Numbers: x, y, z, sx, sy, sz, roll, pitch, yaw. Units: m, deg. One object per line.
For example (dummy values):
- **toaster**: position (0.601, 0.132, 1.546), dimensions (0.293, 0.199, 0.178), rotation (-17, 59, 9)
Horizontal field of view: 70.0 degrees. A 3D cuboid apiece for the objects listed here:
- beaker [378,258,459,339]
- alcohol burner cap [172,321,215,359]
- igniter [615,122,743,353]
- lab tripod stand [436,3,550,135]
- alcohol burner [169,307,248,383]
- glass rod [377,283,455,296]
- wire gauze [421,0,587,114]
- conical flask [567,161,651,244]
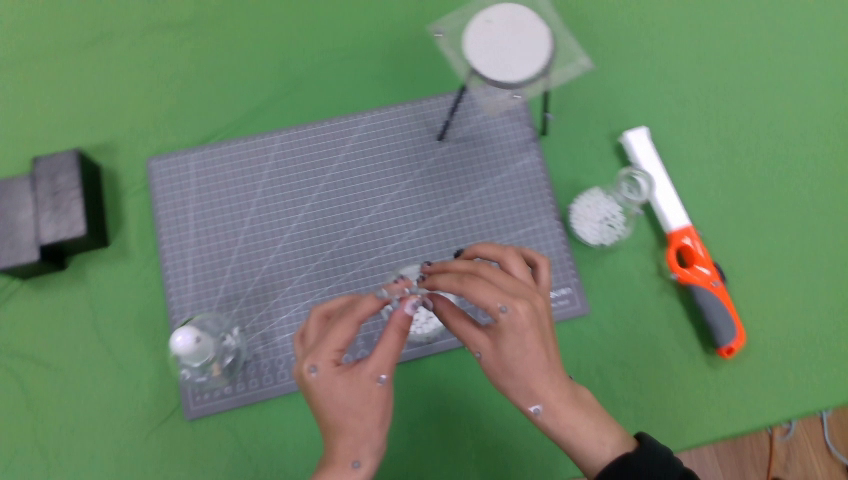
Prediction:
- **beaker**: position (-0.004, 0.063, 0.623), dimensions (0.084, 0.100, 0.073), rotation (-32, 79, -8)
- **alcohol burner cap**: position (-0.218, 0.091, 0.568), dimensions (0.034, 0.048, 0.033), rotation (2, 68, -5)
- **igniter**: position (0.288, -0.007, 0.684), dimensions (0.057, 0.025, 0.275), rotation (-18, 78, -16)
- **lab tripod stand**: position (0.077, -0.178, 0.664), dimensions (0.148, 0.132, 0.147), rotation (1, 78, -2)
- **alcohol burner**: position (-0.219, 0.102, 0.602), dimensions (0.078, 0.119, 0.077), rotation (1, 75, -2)
- **glass rod**: position (0.000, 0.039, 0.477), dimensions (0.008, 0.200, 0.008), rotation (-1, 87, 16)
- **wire gauze**: position (0.079, -0.198, 0.599), dimensions (0.125, 0.011, 0.121), rotation (-30, 81, -8)
- **conical flask**: position (0.201, -0.044, 0.642), dimensions (0.075, 0.122, 0.075), rotation (0, 77, 0)
